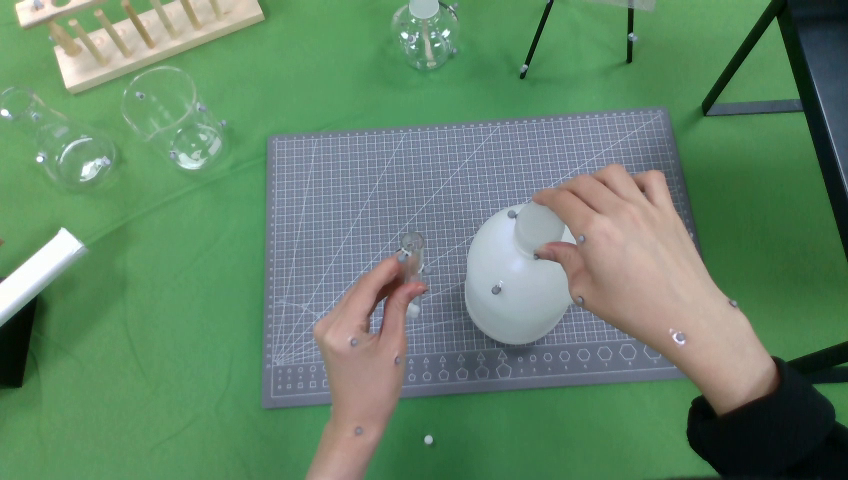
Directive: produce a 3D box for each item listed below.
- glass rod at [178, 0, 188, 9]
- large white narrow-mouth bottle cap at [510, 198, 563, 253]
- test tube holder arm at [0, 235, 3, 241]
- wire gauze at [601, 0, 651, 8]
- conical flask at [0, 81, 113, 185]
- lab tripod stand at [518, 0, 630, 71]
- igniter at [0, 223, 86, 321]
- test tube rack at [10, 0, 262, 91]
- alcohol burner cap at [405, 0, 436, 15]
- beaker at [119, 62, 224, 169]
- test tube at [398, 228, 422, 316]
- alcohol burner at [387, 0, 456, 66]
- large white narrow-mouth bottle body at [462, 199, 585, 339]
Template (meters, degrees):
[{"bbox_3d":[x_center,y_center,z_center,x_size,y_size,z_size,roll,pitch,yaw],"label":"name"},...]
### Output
[{"bbox_3d":[-0.302,-0.324,0.644,0.008,0.201,0.008,-3,64,7],"label":"glass rod"},{"bbox_3d":[0.081,-0.010,0.432,0.038,0.024,0.037,0,71,2],"label":"large white narrow-mouth bottle cap"},{"bbox_3d":[-0.447,0.024,0.581,0.010,0.015,0.087,40,75,13],"label":"test tube holder arm"},{"bbox_3d":[0.172,-0.285,0.592,0.121,0.011,0.124,17,73,5],"label":"wire gauze"},{"bbox_3d":[-0.385,-0.113,0.623,0.075,0.122,0.075,-1,70,2],"label":"conical flask"},{"bbox_3d":[0.167,-0.260,0.655,0.148,0.132,0.147,0,69,0],"label":"lab tripod stand"},{"bbox_3d":[-0.432,0.091,0.554,0.057,0.025,0.276,39,73,12],"label":"igniter"},{"bbox_3d":[-0.321,-0.265,0.694,0.242,0.086,0.066,-24,72,-7],"label":"test tube rack"},{"bbox_3d":[-0.005,-0.263,0.633,0.034,0.048,0.033,0,69,1],"label":"alcohol burner cap"},{"bbox_3d":[-0.260,-0.123,0.636,0.074,0.101,0.083,10,71,6],"label":"beaker"},{"bbox_3d":[-0.011,0.029,0.460,0.017,0.151,0.017,1,65,-1],"label":"test tube"},{"bbox_3d":[-0.002,-0.249,0.667,0.078,0.120,0.077,0,69,0],"label":"alcohol burner"},{"bbox_3d":[0.085,0.021,0.524,0.102,0.196,0.101,-1,71,2],"label":"large white narrow-mouth bottle body"}]
